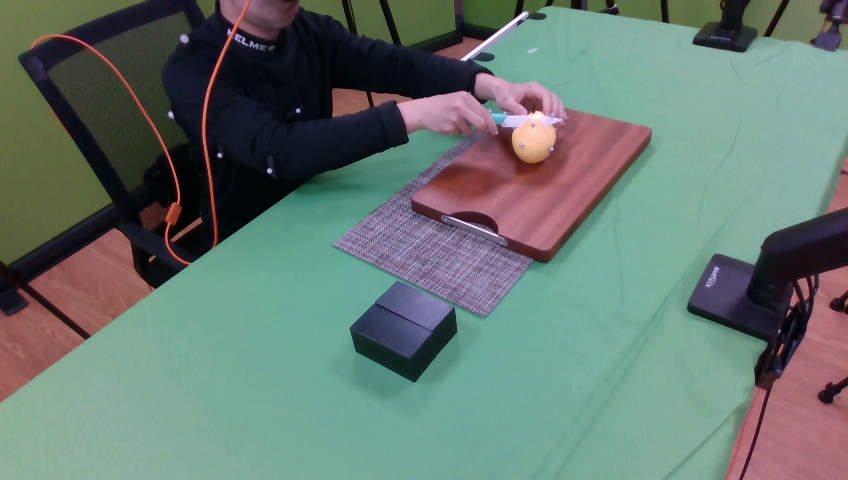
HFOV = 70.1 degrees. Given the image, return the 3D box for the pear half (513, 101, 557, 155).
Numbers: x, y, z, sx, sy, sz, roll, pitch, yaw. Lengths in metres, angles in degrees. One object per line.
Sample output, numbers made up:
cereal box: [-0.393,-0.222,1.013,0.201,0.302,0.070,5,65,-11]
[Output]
pear half: [0.197,-0.198,1.060,0.076,0.110,0.056,10,42,14]

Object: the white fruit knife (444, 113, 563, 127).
white fruit knife: [0.134,-0.206,1.041,0.207,0.027,0.016,3,42,15]

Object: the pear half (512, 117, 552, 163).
pear half: [0.184,-0.166,1.041,0.070,0.088,0.031,8,46,14]
